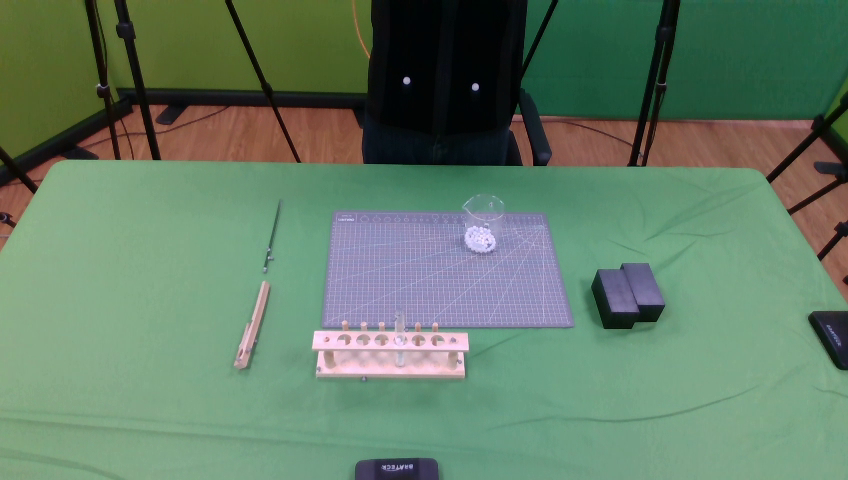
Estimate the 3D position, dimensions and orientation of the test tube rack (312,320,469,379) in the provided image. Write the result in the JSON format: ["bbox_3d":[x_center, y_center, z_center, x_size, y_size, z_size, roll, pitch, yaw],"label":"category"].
[{"bbox_3d":[-0.054,0.173,0.984,0.242,0.085,0.066,1,46,-3],"label":"test tube rack"}]

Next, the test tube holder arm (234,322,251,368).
[{"bbox_3d":[-0.299,0.173,1.013,0.010,0.015,0.087,-17,42,22],"label":"test tube holder arm"}]

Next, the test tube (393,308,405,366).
[{"bbox_3d":[-0.038,0.153,0.935,0.017,0.151,0.017,1,49,-1],"label":"test tube"}]

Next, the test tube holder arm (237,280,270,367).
[{"bbox_3d":[-0.291,0.140,1.042,0.013,0.015,0.177,-17,41,22],"label":"test tube holder arm"}]

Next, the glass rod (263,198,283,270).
[{"bbox_3d":[-0.298,-0.017,1.202,0.008,0.008,0.198,1,46,-2],"label":"glass rod"}]

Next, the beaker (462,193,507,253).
[{"bbox_3d":[0.113,-0.030,1.177,0.084,0.101,0.073,6,46,3],"label":"beaker"}]
